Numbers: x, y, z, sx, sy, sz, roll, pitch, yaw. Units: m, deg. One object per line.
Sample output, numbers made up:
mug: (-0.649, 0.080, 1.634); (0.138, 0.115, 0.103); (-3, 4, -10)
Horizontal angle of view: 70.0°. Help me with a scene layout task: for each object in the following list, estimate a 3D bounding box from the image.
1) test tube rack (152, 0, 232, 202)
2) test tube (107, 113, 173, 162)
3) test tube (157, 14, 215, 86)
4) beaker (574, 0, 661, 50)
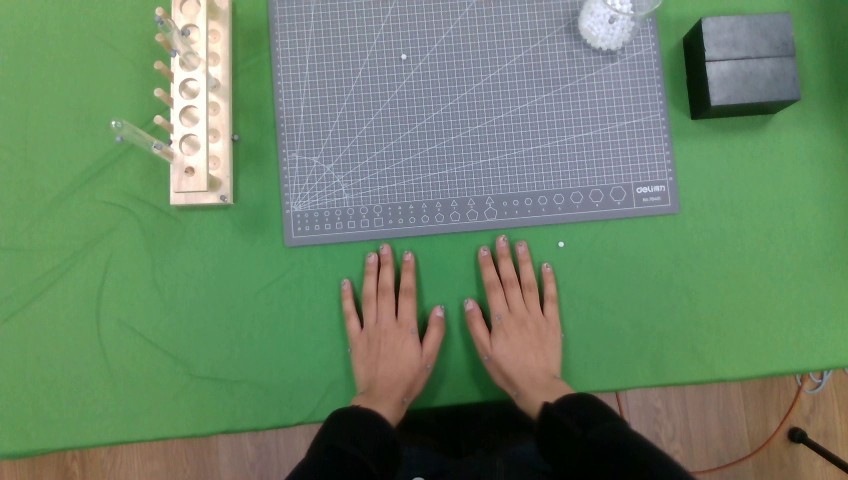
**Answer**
test tube rack: (-0.256, -0.168, 0.658); (0.067, 0.085, 0.241); (-2, 85, -1)
test tube: (-0.272, -0.098, 0.607); (0.017, 0.151, 0.017); (0, 83, 1)
test tube: (-0.236, -0.187, 0.611); (0.017, 0.150, 0.017); (0, 84, -5)
beaker: (0.206, -0.260, 0.661); (0.084, 0.100, 0.074); (32, 85, 4)
